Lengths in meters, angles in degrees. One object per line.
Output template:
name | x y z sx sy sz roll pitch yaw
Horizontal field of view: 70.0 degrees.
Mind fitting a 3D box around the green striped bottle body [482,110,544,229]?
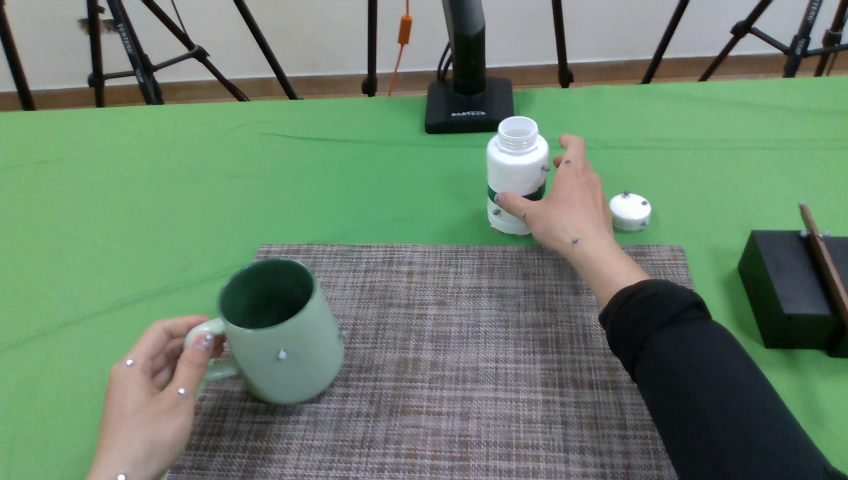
green striped bottle body | 0.093 -0.075 0.635 0.063 0.120 0.062 -3 44 3

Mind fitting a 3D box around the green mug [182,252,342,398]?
green mug | -0.138 0.079 0.513 0.125 0.106 0.091 -19 47 -12

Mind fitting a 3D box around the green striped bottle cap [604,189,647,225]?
green striped bottle cap | 0.218 -0.036 0.657 0.044 0.020 0.044 -5 42 5

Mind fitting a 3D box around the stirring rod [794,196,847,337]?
stirring rod | 0.340 0.024 0.512 0.006 0.014 0.174 0 45 12
